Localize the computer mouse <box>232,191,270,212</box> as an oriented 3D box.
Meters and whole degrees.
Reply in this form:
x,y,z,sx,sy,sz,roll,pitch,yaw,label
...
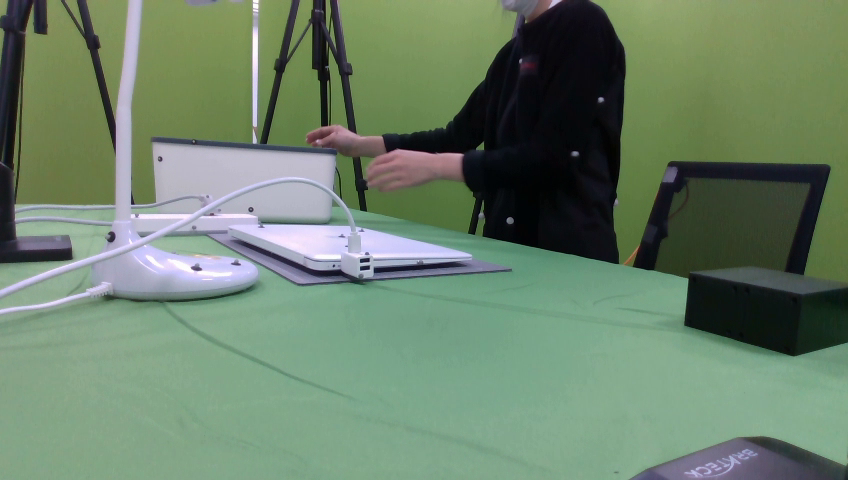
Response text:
x,y,z,sx,sy,sz,roll,pitch,yaw,label
-0.382,-0.086,1.343,0.063,0.041,0.117,9,10,-4,computer mouse

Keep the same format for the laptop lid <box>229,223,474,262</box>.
x,y,z,sx,sy,sz,roll,pitch,yaw,label
-0.121,0.000,0.888,0.243,0.013,0.355,1,7,-33,laptop lid

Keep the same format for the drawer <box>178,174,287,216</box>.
x,y,z,sx,sy,sz,roll,pitch,yaw,label
-0.414,-0.104,1.342,0.212,0.073,0.194,5,7,-11,drawer

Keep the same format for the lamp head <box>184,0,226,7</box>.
x,y,z,sx,sy,sz,roll,pitch,yaw,label
-0.229,-0.320,0.627,0.112,0.112,0.123,6,-35,26,lamp head

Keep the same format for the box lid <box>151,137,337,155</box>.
x,y,z,sx,sy,sz,roll,pitch,yaw,label
-0.379,-0.204,1.334,0.372,0.015,0.262,2,7,-9,box lid

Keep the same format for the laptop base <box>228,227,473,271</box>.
x,y,z,sx,sy,sz,roll,pitch,yaw,label
-0.124,0.011,0.889,0.237,0.023,0.352,2,6,-35,laptop base

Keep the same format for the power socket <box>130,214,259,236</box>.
x,y,z,sx,sy,sz,roll,pitch,yaw,label
-0.397,-0.028,1.048,0.228,0.032,0.072,-3,7,-35,power socket

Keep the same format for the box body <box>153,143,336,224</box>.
x,y,z,sx,sy,sz,roll,pitch,yaw,label
-0.380,-0.130,1.344,0.365,0.160,0.253,1,7,-9,box body

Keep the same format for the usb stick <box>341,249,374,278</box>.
x,y,z,sx,sy,sz,roll,pitch,yaw,label
-0.079,0.026,0.686,0.021,0.027,0.059,-7,9,-31,usb stick

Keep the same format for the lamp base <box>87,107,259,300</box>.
x,y,z,sx,sy,sz,roll,pitch,yaw,label
-0.254,-0.039,0.603,0.160,0.180,0.179,5,10,18,lamp base

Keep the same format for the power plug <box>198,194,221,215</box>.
x,y,z,sx,sy,sz,roll,pitch,yaw,label
-0.386,-0.055,1.088,0.035,0.052,0.072,-2,7,-24,power plug
